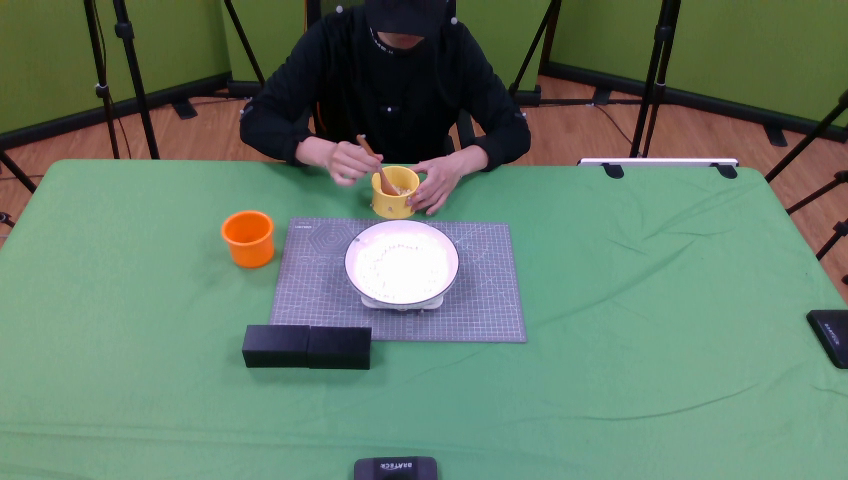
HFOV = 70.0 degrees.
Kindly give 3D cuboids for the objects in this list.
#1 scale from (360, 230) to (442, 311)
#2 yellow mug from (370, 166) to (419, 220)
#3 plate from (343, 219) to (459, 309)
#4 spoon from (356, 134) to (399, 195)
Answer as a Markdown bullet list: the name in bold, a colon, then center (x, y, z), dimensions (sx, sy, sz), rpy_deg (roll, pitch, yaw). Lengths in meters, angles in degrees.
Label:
- **scale**: center (-0.042, 0.047, 1.138), dimensions (0.149, 0.032, 0.199), rpy_deg (2, 46, -3)
- **yellow mug**: center (-0.073, -0.108, 1.267), dimensions (0.100, 0.064, 0.130), rpy_deg (-30, 54, -30)
- **plate**: center (-0.041, 0.046, 1.094), dimensions (0.209, 0.038, 0.208), rpy_deg (2, 46, -2)
- **spoon**: center (-0.090, -0.140, 1.182), dimensions (0.041, 0.195, 0.021), rpy_deg (15, 59, 32)
